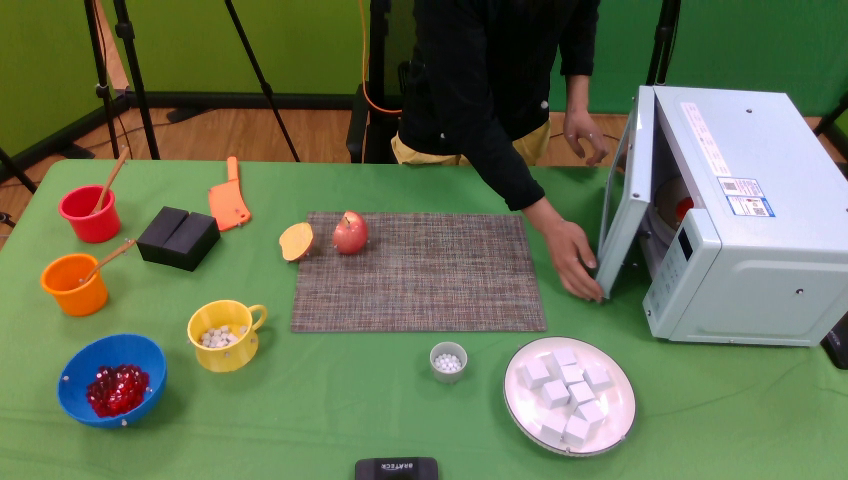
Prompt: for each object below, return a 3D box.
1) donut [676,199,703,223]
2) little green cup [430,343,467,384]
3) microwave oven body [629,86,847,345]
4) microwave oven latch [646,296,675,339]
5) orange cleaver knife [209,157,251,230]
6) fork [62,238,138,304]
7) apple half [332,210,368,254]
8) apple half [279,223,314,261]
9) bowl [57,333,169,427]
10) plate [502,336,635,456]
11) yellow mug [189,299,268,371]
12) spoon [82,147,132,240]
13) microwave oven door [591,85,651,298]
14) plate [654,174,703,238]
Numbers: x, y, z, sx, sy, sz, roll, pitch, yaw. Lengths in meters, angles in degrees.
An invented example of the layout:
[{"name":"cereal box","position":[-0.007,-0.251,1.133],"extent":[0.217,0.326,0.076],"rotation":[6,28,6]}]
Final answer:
[{"name":"donut","position":[0.539,-0.046,1.170],"extent":[0.099,0.048,0.098],"rotation":[3,35,-2]},{"name":"little green cup","position":[0.039,0.203,0.994],"extent":[0.061,0.039,0.061],"rotation":[2,46,-2]},{"name":"microwave oven body","position":[0.568,-0.053,1.118],"extent":[0.326,0.261,0.439],"rotation":[2,45,-1]},{"name":"microwave oven latch","position":[0.412,0.134,1.061],"extent":[0.030,0.029,0.078],"rotation":[4,45,1]},{"name":"orange cleaver knife","position":[-0.409,-0.099,1.266],"extent":[0.077,0.012,0.210],"rotation":[-14,50,-10]},{"name":"fork","position":[-0.547,0.053,1.019],"extent":[0.207,0.019,0.028],"rotation":[-36,41,23]},{"name":"apple half","position":[-0.136,-0.010,1.158],"extent":[0.053,0.075,0.080],"rotation":[17,43,8]},{"name":"apple half","position":[-0.236,0.007,1.157],"extent":[0.081,0.033,0.081],"rotation":[-14,58,23]},{"name":"bowl","position":[-0.455,0.223,0.912],"extent":[0.151,0.077,0.150],"rotation":[3,45,-2]},{"name":"plate","position":[0.225,0.248,0.964],"extent":[0.208,0.039,0.206],"rotation":[2,46,-2]},{"name":"yellow mug","position":[-0.316,0.148,1.002],"extent":[0.131,0.064,0.099],"rotation":[-33,56,-31]},{"name":"spoon","position":[-0.603,-0.089,1.156],"extent":[0.041,0.022,0.193],"rotation":[27,95,21]},{"name":"microwave oven door","position":[0.378,-0.100,1.144],"extent":[0.039,0.245,0.354],"rotation":[14,47,9]},{"name":"plate","position":[0.555,-0.047,1.187],"extent":[0.209,0.038,0.208],"rotation":[1,49,-1]}]
